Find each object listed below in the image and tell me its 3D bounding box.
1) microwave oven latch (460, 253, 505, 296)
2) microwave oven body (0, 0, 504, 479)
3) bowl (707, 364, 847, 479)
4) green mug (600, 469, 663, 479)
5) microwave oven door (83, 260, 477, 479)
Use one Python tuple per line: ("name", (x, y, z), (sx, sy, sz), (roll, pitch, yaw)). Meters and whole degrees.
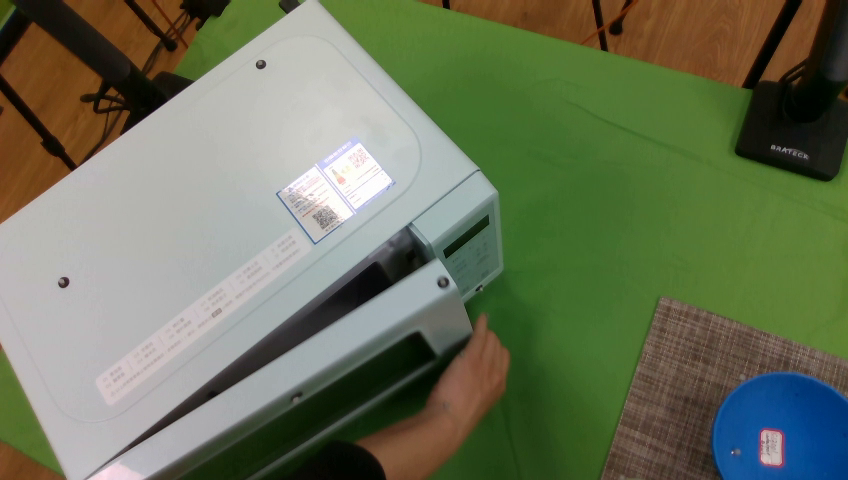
("microwave oven latch", (0.062, 0.036, 0.734), (0.079, 0.030, 0.030), (-37, 70, -5))
("microwave oven body", (-0.181, 0.009, 0.676), (0.441, 0.262, 0.323), (-39, 70, -5))
("bowl", (0.363, 0.208, 0.624), (0.151, 0.077, 0.150), (-3, 70, 8))
("green mug", (0.204, 0.266, 0.532), (0.092, 0.105, 0.124), (-34, 74, -8))
("microwave oven door", (-0.113, 0.154, 0.610), (0.356, 0.245, 0.039), (-32, 68, -3))
